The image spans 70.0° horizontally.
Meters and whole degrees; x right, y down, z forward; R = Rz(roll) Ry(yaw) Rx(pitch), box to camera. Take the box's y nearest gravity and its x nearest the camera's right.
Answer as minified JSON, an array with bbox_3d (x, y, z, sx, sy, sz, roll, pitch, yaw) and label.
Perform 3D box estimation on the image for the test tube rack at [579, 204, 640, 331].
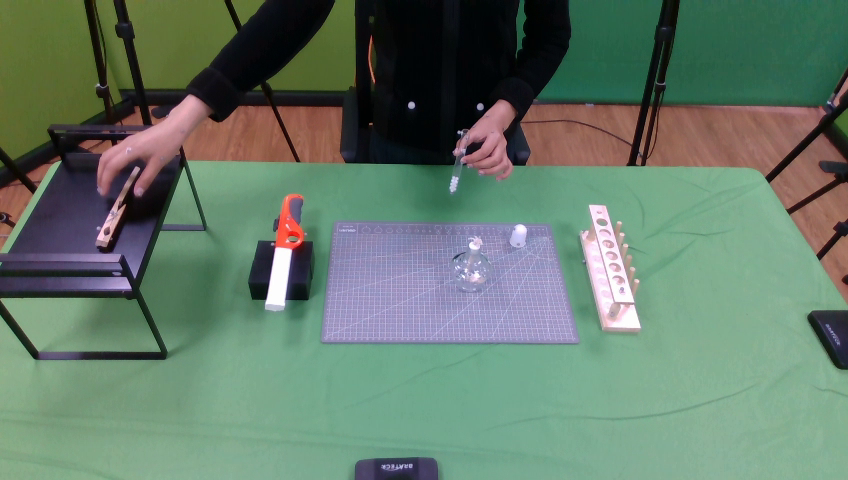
[{"bbox_3d":[0.353,0.047,1.137,0.067,0.085,0.241,2,46,-2],"label":"test tube rack"}]

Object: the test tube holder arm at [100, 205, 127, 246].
[{"bbox_3d":[-0.480,-0.025,0.938,0.010,0.015,0.087,28,37,-26],"label":"test tube holder arm"}]

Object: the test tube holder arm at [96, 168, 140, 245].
[{"bbox_3d":[-0.487,-0.058,0.968,0.013,0.015,0.177,27,37,-27],"label":"test tube holder arm"}]

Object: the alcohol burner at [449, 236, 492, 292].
[{"bbox_3d":[0.086,0.038,1.101,0.078,0.119,0.077,2,44,-2],"label":"alcohol burner"}]

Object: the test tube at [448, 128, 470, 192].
[{"bbox_3d":[0.064,-0.145,1.130,0.017,0.151,0.017,5,48,-6],"label":"test tube"}]

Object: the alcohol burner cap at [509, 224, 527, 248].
[{"bbox_3d":[0.189,-0.011,1.206,0.034,0.048,0.033,2,45,-2],"label":"alcohol burner cap"}]

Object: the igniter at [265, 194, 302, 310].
[{"bbox_3d":[-0.253,0.011,1.099,0.057,0.025,0.274,9,46,-12],"label":"igniter"}]
